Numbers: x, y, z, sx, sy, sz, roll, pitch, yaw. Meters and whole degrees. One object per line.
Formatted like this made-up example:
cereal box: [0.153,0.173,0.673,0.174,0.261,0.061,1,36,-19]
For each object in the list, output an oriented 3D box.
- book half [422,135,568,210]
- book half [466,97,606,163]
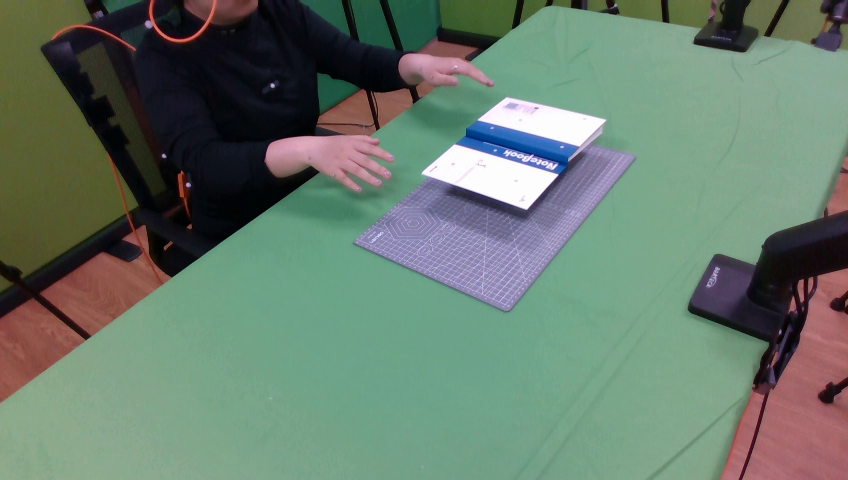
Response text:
book half: [0.119,-0.121,1.027,0.208,0.007,0.143,22,49,30]
book half: [0.203,-0.207,1.105,0.208,0.016,0.149,22,47,31]
